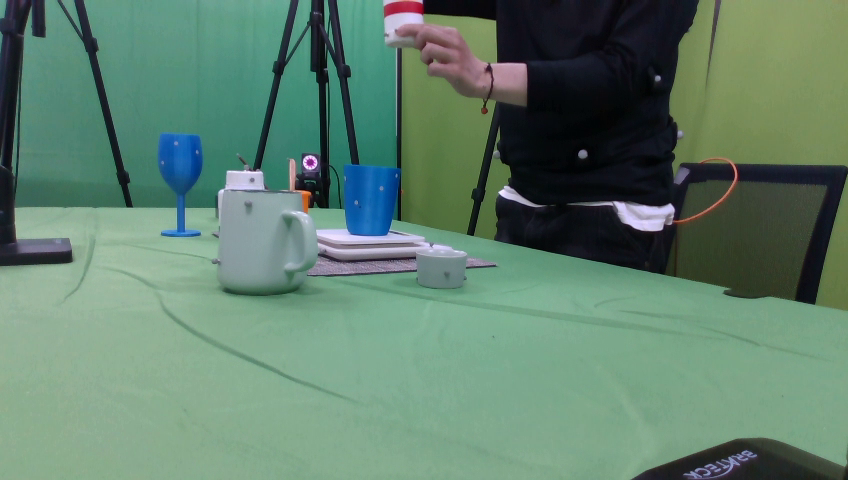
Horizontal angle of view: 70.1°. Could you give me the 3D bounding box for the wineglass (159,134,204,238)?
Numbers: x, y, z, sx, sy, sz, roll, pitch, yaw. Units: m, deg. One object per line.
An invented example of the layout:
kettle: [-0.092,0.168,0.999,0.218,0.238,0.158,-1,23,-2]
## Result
wineglass: [-0.415,-0.093,1.040,0.074,0.172,0.073,2,7,0]

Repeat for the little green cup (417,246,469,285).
little green cup: [0.021,0.029,0.701,0.061,0.038,0.061,1,6,0]

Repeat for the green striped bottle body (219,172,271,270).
green striped bottle body: [-0.223,-0.025,0.755,0.063,0.119,0.063,1,7,0]

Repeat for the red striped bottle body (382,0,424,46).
red striped bottle body: [-0.035,-0.368,0.938,0.063,0.119,0.063,-4,7,1]

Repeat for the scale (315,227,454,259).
scale: [-0.066,0.001,0.906,0.202,0.031,0.148,-2,8,-31]

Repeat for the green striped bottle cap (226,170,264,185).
green striped bottle cap: [-0.222,-0.077,0.748,0.044,0.020,0.044,1,7,0]

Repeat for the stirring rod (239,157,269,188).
stirring rod: [-0.309,-0.098,1.209,0.006,0.177,0.014,-39,29,-4]

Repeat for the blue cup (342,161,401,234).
blue cup: [-0.079,-0.061,0.882,0.093,0.100,0.092,4,6,0]

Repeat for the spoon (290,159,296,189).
spoon: [-0.273,-0.102,1.252,0.042,0.193,0.021,7,-38,-17]

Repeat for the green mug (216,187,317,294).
green mug: [-0.157,0.000,0.629,0.124,0.105,0.093,8,9,37]
